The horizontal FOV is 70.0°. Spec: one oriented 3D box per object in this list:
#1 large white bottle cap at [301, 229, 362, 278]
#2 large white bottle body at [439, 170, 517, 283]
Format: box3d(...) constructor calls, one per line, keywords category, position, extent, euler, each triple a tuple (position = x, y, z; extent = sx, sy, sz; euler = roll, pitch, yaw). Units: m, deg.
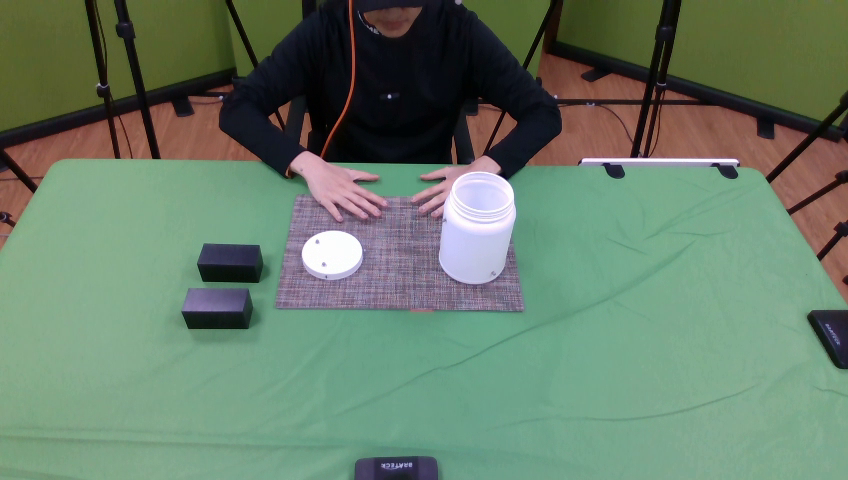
box3d(category="large white bottle cap", position=(-0.176, 0.025, 1.157), extent=(0.115, 0.018, 0.114), euler=(2, 46, -2))
box3d(category="large white bottle body", position=(0.097, -0.024, 1.108), extent=(0.131, 0.185, 0.130), euler=(2, 47, -2))
